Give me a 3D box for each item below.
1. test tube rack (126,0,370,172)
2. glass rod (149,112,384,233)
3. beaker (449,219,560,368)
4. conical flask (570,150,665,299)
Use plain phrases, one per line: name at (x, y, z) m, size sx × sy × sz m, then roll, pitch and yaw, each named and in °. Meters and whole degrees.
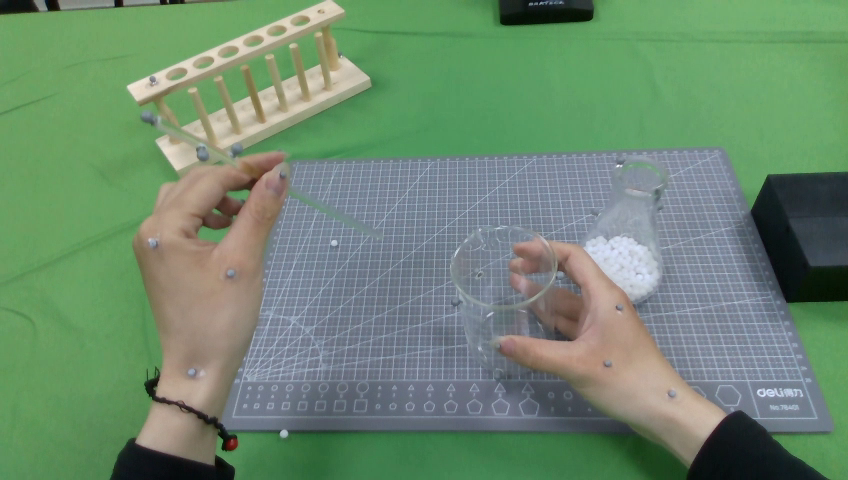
test tube rack at (-0.184, -0.177, 0.668) m, size 0.242 × 0.086 × 0.066 m, roll -32°, pitch 55°, yaw -19°
glass rod at (-0.085, -0.035, 0.388) m, size 0.008 × 0.201 × 0.008 m, roll -11°, pitch 68°, yaw 30°
beaker at (0.060, 0.042, 0.455) m, size 0.074 × 0.101 × 0.083 m, roll -22°, pitch 49°, yaw -8°
conical flask at (0.159, -0.014, 0.479) m, size 0.075 × 0.123 × 0.074 m, roll -3°, pitch 51°, yaw 4°
